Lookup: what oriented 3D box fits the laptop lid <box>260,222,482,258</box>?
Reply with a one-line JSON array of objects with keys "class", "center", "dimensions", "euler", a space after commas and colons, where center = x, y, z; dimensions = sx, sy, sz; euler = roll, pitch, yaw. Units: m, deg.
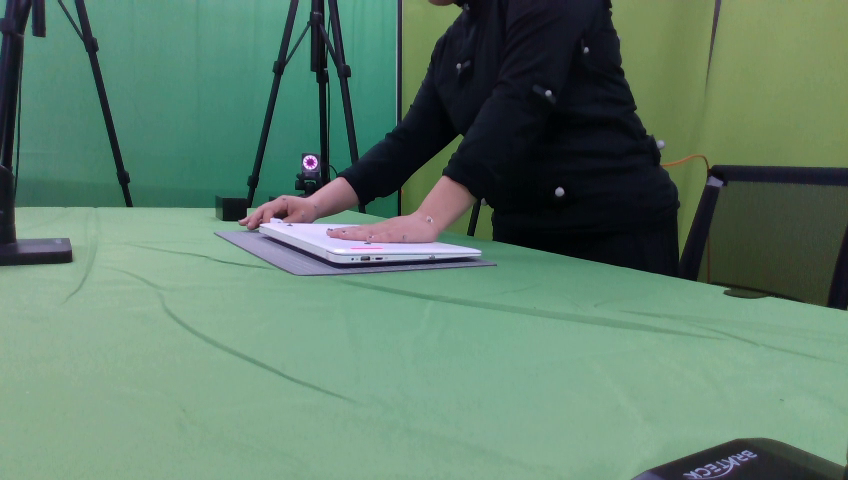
[{"class": "laptop lid", "center": [-0.100, -0.003, 0.962], "dimensions": [0.243, 0.013, 0.355], "euler": [2, 7, -30]}]

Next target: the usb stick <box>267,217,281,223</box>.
[{"class": "usb stick", "center": [-0.272, -0.026, 1.095], "dimensions": [0.021, 0.027, 0.059], "euler": [5, 9, -20]}]

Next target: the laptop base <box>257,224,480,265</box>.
[{"class": "laptop base", "center": [-0.103, 0.008, 0.962], "dimensions": [0.237, 0.023, 0.352], "euler": [3, 6, -32]}]
